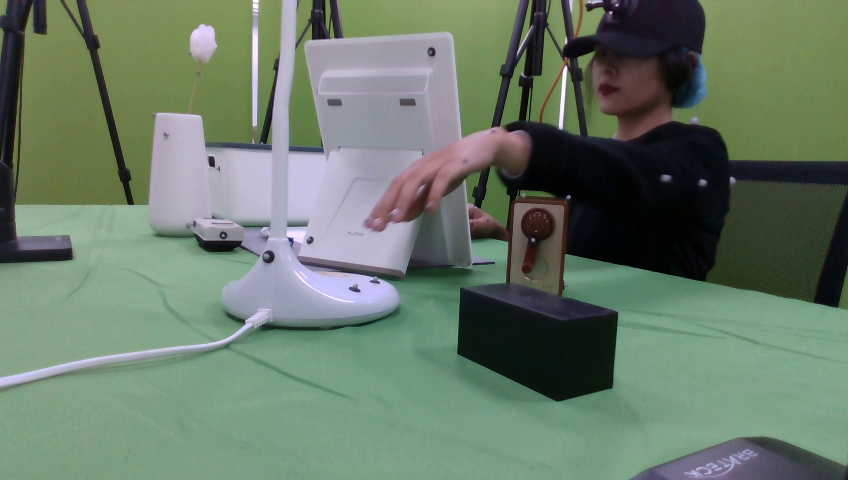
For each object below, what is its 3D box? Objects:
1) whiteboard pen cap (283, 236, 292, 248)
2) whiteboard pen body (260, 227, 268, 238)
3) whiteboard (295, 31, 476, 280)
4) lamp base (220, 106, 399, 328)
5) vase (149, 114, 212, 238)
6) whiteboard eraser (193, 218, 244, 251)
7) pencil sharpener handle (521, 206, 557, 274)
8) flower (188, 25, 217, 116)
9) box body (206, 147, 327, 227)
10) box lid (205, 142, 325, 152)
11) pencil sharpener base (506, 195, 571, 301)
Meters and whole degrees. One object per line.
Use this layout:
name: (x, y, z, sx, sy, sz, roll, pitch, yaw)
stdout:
whiteboard pen cap: (-0.211, 0.003, 0.913, 0.018, 0.018, 0.033, -2, 6, -28)
whiteboard pen body: (-0.239, -0.005, 0.964, 0.017, 0.017, 0.140, -2, 9, -28)
whiteboard: (-0.076, -0.084, 0.747, 0.216, 0.305, 0.144, 7, 28, 29)
lamp base: (-0.102, -0.023, 0.531, 0.160, 0.180, 0.179, 4, 10, 10)
vase: (-0.405, -0.106, 1.005, 0.098, 0.200, 0.098, 2, 6, 0)
whiteboard eraser: (-0.307, -0.010, 0.900, 0.056, 0.042, 0.112, -4, 10, -28)
pencil sharpener handle: (0.112, 0.000, 0.611, 0.036, 0.067, 0.031, 13, 10, 11)
flower: (-0.394, -0.189, 1.011, 0.044, 0.361, 0.038, -1, -13, 27)
box body: (-0.276, -0.122, 1.320, 0.366, 0.160, 0.253, -2, 9, -30)
box lid: (-0.270, -0.196, 1.310, 0.373, 0.015, 0.262, -2, 9, -30)
pencil sharpener base: (0.126, 0.007, 0.662, 0.061, 0.107, 0.077, 4, 8, 13)
